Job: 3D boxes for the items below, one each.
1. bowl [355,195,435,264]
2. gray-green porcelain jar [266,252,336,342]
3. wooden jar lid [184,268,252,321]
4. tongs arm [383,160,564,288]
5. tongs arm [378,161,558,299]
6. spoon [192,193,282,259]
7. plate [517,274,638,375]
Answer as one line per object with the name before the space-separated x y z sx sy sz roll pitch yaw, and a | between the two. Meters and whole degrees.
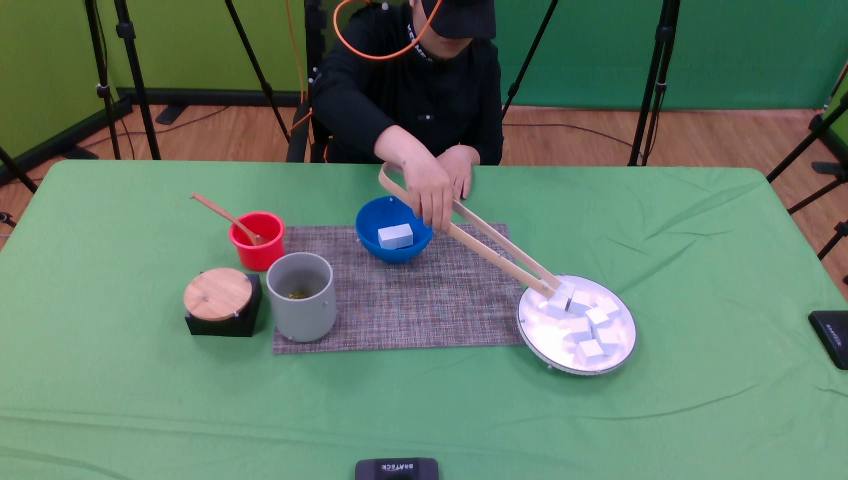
bowl | -0.056 -0.008 1.158 0.151 0.077 0.150 2 46 -2
gray-green porcelain jar | -0.202 0.100 1.009 0.106 0.127 0.105 2 46 -2
wooden jar lid | -0.343 0.092 1.015 0.108 0.021 0.107 3 46 -3
tongs arm | 0.087 -0.031 1.095 0.387 0.028 0.028 36 54 7
tongs arm | 0.075 -0.019 1.081 0.384 0.026 0.050 32 50 4
spoon | -0.342 -0.027 1.115 0.194 0.021 0.041 43 40 -24
plate | 0.264 0.149 1.060 0.209 0.038 0.208 3 46 -3
